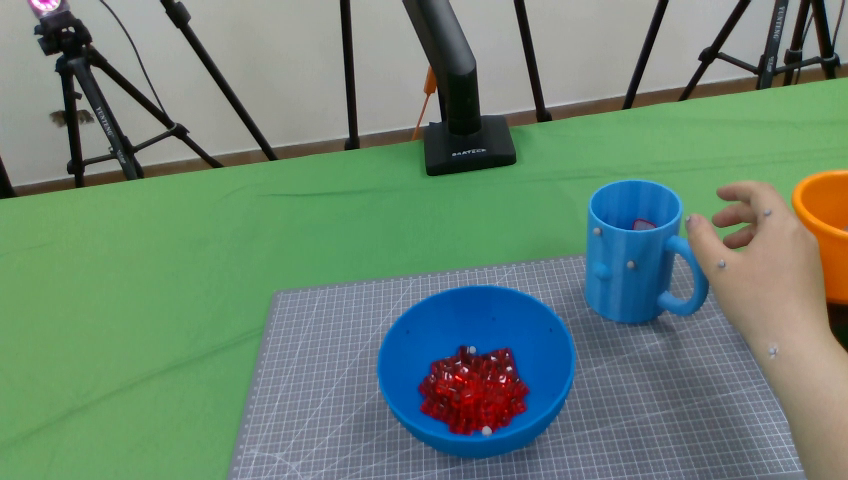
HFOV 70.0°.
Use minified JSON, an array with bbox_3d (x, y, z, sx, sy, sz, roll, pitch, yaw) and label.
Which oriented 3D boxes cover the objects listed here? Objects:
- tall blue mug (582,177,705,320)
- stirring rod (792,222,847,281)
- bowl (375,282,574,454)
[{"bbox_3d":[0.198,0.012,0.543,0.106,0.109,0.077,12,44,24],"label":"tall blue mug"},{"bbox_3d":[0.357,-0.032,0.464,0.176,0.006,0.014,-50,34,19],"label":"stirring rod"},{"bbox_3d":[0.042,0.112,0.480,0.151,0.077,0.150,-6,39,5],"label":"bowl"}]
